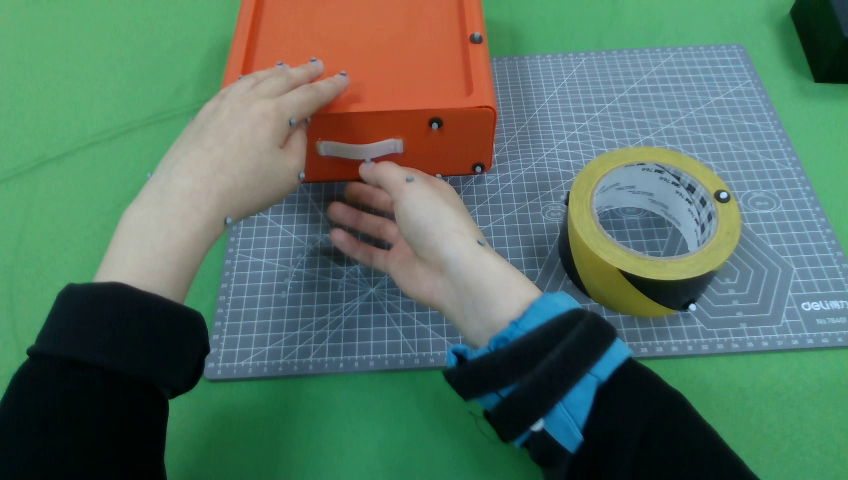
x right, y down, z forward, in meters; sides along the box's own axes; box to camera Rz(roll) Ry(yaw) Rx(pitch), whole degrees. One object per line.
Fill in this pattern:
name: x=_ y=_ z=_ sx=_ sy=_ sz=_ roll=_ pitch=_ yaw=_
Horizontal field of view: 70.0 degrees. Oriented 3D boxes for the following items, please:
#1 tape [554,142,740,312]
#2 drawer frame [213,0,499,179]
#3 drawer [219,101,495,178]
tape: x=0.153 y=-0.009 z=0.420 sx=0.117 sy=0.053 sz=0.116 roll=-1 pitch=58 yaw=2
drawer frame: x=-0.050 y=-0.156 z=0.503 sx=0.202 sy=0.083 sz=0.211 roll=-3 pitch=56 yaw=0
drawer: x=-0.049 y=-0.155 z=0.502 sx=0.194 sy=0.074 sz=0.209 roll=-3 pitch=57 yaw=1
